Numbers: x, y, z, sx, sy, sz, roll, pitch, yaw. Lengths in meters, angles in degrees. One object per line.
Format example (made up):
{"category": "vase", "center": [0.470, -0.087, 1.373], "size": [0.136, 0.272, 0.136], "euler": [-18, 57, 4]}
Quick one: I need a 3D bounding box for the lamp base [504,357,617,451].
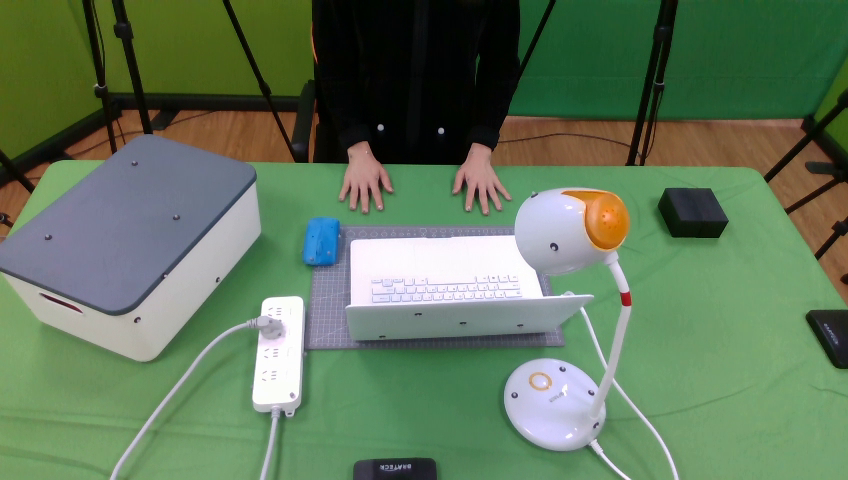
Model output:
{"category": "lamp base", "center": [0.220, 0.211, 0.902], "size": [0.160, 0.181, 0.178], "euler": [-33, 59, -30]}

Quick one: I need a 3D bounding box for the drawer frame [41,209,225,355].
{"category": "drawer frame", "center": [-0.490, 0.066, 1.043], "size": [0.201, 0.083, 0.212], "euler": [16, 54, 13]}

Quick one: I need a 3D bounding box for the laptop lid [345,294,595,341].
{"category": "laptop lid", "center": [0.059, 0.124, 0.934], "size": [0.357, 0.242, 0.013], "euler": [-1, 69, -7]}

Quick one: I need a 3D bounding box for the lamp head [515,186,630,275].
{"category": "lamp head", "center": [0.188, -0.013, 0.728], "size": [0.112, 0.112, 0.122], "euler": [-25, 9, -25]}

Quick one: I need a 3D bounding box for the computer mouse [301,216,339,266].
{"category": "computer mouse", "center": [-0.200, -0.002, 1.169], "size": [0.063, 0.041, 0.116], "euler": [3, 50, -3]}

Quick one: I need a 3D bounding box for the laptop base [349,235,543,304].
{"category": "laptop base", "center": [0.039, 0.082, 1.124], "size": [0.355, 0.023, 0.234], "euler": [-2, 43, -6]}

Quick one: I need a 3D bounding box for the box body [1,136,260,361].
{"category": "box body", "center": [-0.482, 0.006, 1.056], "size": [0.254, 0.161, 0.362], "euler": [17, 47, 12]}

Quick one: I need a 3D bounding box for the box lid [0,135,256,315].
{"category": "box lid", "center": [-0.480, -0.044, 1.002], "size": [0.263, 0.015, 0.370], "euler": [18, 47, 12]}

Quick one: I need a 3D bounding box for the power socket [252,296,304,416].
{"category": "power socket", "center": [-0.238, 0.182, 0.997], "size": [0.072, 0.033, 0.225], "euler": [-3, 47, -5]}

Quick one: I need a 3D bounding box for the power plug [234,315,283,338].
{"category": "power plug", "center": [-0.269, 0.143, 1.000], "size": [0.072, 0.053, 0.035], "euler": [4, 47, 2]}

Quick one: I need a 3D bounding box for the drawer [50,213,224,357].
{"category": "drawer", "center": [-0.492, 0.075, 1.057], "size": [0.194, 0.073, 0.211], "euler": [18, 57, 10]}

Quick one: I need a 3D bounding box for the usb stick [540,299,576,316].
{"category": "usb stick", "center": [0.239, 0.121, 1.083], "size": [0.059, 0.027, 0.021], "euler": [-1, 51, -2]}
